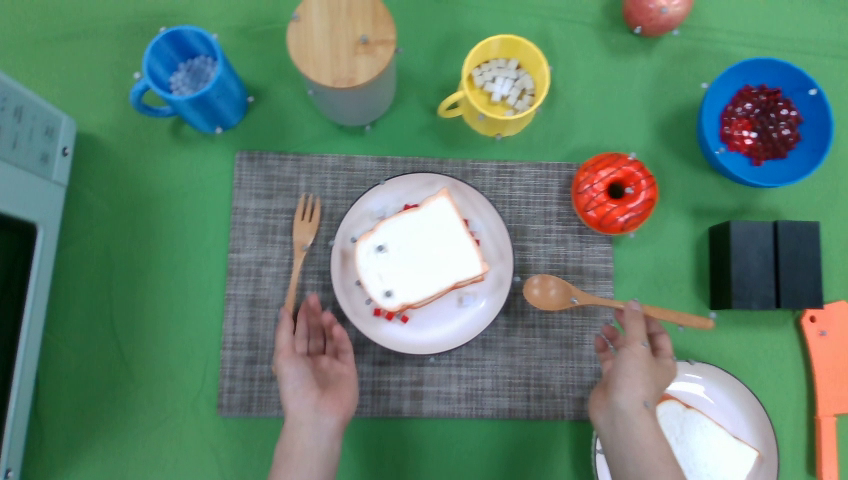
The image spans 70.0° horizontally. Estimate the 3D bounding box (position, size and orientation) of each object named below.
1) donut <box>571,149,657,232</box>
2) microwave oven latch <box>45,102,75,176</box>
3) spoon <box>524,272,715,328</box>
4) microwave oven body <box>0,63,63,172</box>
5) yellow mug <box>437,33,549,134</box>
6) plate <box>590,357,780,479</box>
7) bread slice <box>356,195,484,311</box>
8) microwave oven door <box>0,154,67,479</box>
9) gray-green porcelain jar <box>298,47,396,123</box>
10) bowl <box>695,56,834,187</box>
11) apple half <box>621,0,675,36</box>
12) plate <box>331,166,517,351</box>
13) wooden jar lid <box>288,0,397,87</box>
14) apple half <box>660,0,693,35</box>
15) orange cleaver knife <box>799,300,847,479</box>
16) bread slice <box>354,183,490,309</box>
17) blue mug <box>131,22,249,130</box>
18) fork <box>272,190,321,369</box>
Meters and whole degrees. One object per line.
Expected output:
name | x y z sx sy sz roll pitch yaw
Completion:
donut | 0.220 -0.058 0.705 0.099 0.048 0.099 0 83 -2
microwave oven latch | -0.413 -0.113 0.676 0.030 0.029 0.079 7 83 -2
spoon | 0.198 0.067 0.632 0.192 0.022 0.041 10 69 31
microwave oven body | -0.573 0.034 0.554 0.326 0.260 0.440 5 83 -2
yellow mug | 0.076 -0.176 0.708 0.131 0.064 0.099 -22 84 -4
plate | 0.286 0.235 0.677 0.209 0.038 0.208 0 82 -2
bread slice | -0.009 0.021 0.692 0.131 0.019 0.104 -26 85 -6
microwave oven door | -0.431 0.089 0.547 0.039 0.244 0.354 5 82 -1
gray-green porcelain jar | -0.083 -0.195 0.674 0.106 0.127 0.105 0 82 -2
bowl | 0.380 -0.128 0.707 0.151 0.077 0.151 0 83 -2
apple half | 0.257 -0.272 0.722 0.033 0.081 0.081 -31 84 -10
plate | 0.001 0.021 0.690 0.208 0.039 0.207 0 83 -2
wooden jar lid | -0.082 -0.204 0.613 0.108 0.021 0.108 0 80 -2
apple half | 0.289 -0.293 0.728 0.053 0.075 0.080 -30 81 -11
orange cleaver knife | 0.476 0.174 0.702 0.077 0.012 0.210 3 81 -8
bread slice | -0.008 0.015 0.665 0.134 0.018 0.106 -29 82 -7
blue mug | -0.264 -0.173 0.674 0.116 0.106 0.082 -23 83 -5
fork | -0.148 0.044 0.690 0.028 0.018 0.206 12 81 -12
